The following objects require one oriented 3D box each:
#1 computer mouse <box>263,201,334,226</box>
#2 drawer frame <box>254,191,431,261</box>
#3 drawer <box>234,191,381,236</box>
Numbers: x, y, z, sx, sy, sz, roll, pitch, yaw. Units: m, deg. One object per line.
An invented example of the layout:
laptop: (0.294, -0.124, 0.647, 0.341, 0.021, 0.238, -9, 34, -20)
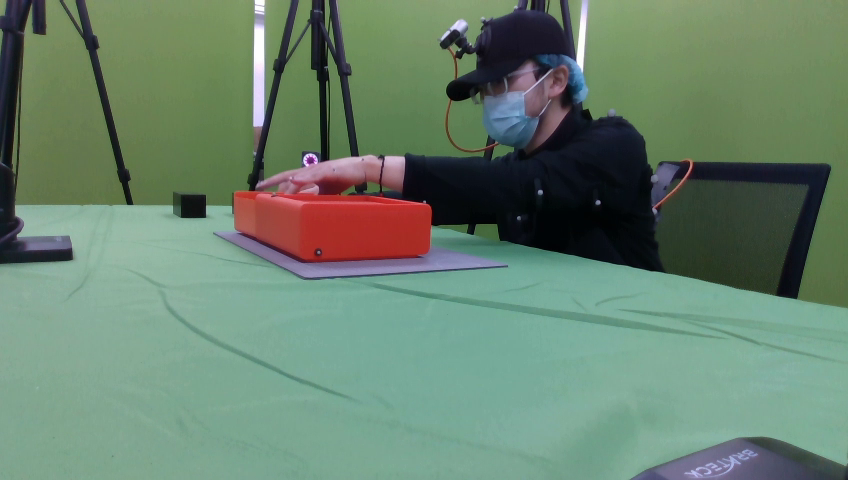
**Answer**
computer mouse: (-0.216, -0.047, 1.046, 0.117, 0.041, 0.063, 2, 6, 8)
drawer frame: (-0.128, -0.027, 0.912, 0.203, 0.082, 0.212, -1, 9, -31)
drawer: (-0.196, -0.043, 1.020, 0.195, 0.073, 0.210, -1, 7, -32)
